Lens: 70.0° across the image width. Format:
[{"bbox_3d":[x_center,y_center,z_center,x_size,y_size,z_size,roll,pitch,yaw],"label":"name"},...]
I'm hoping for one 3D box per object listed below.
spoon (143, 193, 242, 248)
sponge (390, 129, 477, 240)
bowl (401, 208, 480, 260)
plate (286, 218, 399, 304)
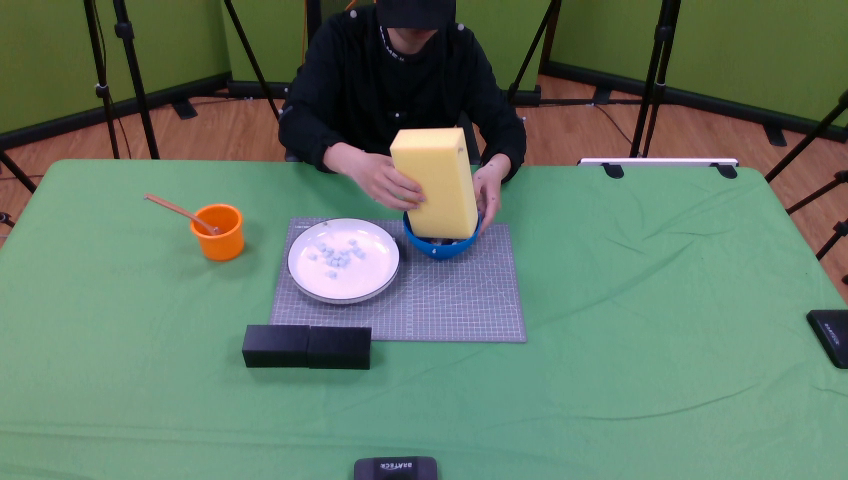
[{"bbox_3d":[-0.421,-0.037,1.113,0.021,0.195,0.041,-37,37,23],"label":"spoon"},{"bbox_3d":[0.022,-0.097,1.091,0.118,0.208,0.060,6,46,20],"label":"sponge"},{"bbox_3d":[0.032,-0.015,1.171,0.151,0.077,0.150,0,45,0],"label":"bowl"},{"bbox_3d":[-0.150,0.042,1.131,0.209,0.038,0.208,2,45,-2],"label":"plate"}]
